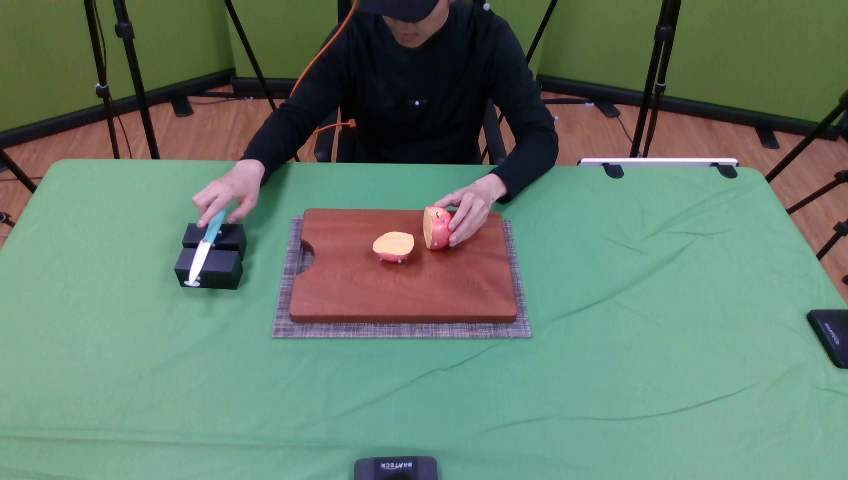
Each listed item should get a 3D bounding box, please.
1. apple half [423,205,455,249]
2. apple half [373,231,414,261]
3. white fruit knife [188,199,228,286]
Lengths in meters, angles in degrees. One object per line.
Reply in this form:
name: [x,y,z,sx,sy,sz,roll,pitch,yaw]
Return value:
apple half: [0.031,-0.023,1.144,0.053,0.075,0.080,-2,42,-12]
apple half: [-0.053,0.017,1.127,0.081,0.033,0.081,-3,33,2]
white fruit knife: [-0.393,0.001,1.104,0.027,0.016,0.206,-2,50,8]
